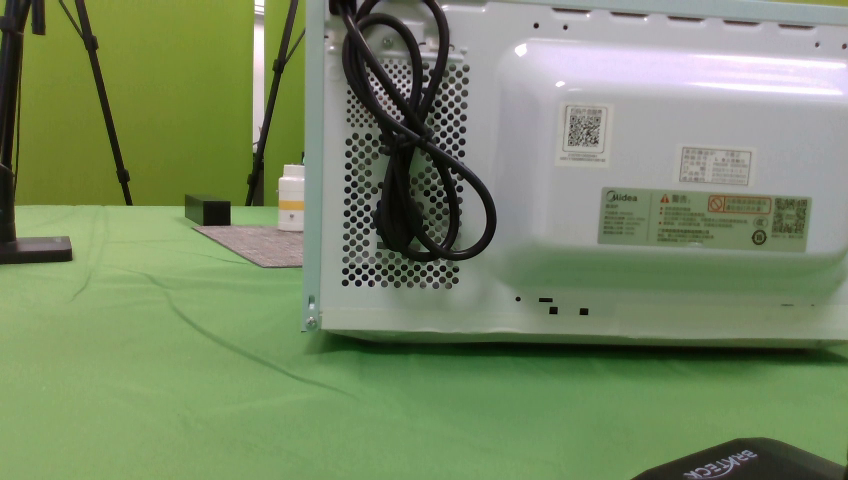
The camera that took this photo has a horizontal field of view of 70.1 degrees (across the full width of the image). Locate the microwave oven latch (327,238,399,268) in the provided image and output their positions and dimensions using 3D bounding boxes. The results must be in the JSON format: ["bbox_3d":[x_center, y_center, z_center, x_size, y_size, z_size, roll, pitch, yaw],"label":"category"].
[{"bbox_3d":[-0.069,0.015,0.694,0.079,0.029,0.030,3,7,-3],"label":"microwave oven latch"}]

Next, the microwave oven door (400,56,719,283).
[{"bbox_3d":[0.155,-0.077,0.698,0.356,0.243,0.039,2,8,-5],"label":"microwave oven door"}]

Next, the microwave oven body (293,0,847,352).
[{"bbox_3d":[0.122,-0.055,0.550,0.442,0.260,0.325,3,7,-5],"label":"microwave oven body"}]

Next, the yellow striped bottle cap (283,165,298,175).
[{"bbox_3d":[-0.240,-0.129,1.124,0.044,0.018,0.044,4,8,0],"label":"yellow striped bottle cap"}]

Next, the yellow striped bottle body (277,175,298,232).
[{"bbox_3d":[-0.242,-0.078,1.130,0.063,0.120,0.063,2,8,0],"label":"yellow striped bottle body"}]
